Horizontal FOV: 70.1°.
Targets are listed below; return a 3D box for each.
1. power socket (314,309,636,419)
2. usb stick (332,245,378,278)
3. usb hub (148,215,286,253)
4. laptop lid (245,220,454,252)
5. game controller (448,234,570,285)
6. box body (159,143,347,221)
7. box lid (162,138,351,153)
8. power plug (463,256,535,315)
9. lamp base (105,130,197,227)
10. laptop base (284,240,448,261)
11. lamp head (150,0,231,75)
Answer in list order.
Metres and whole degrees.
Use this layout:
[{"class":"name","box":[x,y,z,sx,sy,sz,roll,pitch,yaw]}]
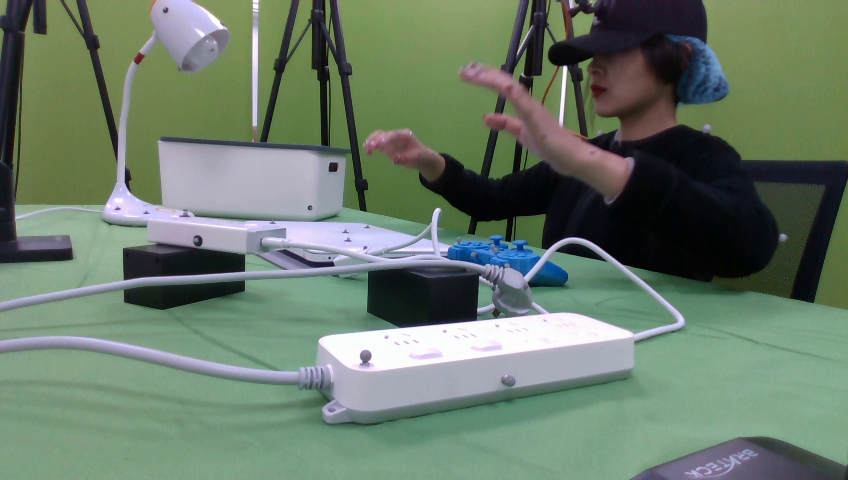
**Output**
[{"class":"power socket","box":[0.039,0.072,0.385,0.228,0.032,0.072,-2,7,-28]},{"class":"usb stick","box":[-0.085,0.027,0.701,0.059,0.027,0.021,-18,16,27]},{"class":"usb hub","box":[-0.197,-0.006,0.575,0.125,0.025,0.050,6,6,22]},{"class":"laptop lid","box":[-0.123,-0.009,0.945,0.243,0.013,0.355,1,7,-29]},{"class":"game controller","box":[0.099,0.021,0.756,0.097,0.051,0.154,-7,10,-29]},{"class":"box body","box":[-0.384,-0.137,1.406,0.364,0.160,0.254,3,8,7]},{"class":"box lid","box":[-0.371,-0.215,1.394,0.371,0.015,0.263,4,8,7]},{"class":"power plug","box":[0.064,0.039,0.530,0.072,0.052,0.035,32,43,7]},{"class":"lamp base","box":[-0.532,-0.120,1.153,0.179,0.180,0.161,1,7,8]},{"class":"laptop base","box":[-0.125,0.002,0.945,0.237,0.023,0.352,2,6,-31]},{"class":"lamp head","box":[-0.432,-0.374,1.086,0.123,0.112,0.112,42,8,-2]}]
